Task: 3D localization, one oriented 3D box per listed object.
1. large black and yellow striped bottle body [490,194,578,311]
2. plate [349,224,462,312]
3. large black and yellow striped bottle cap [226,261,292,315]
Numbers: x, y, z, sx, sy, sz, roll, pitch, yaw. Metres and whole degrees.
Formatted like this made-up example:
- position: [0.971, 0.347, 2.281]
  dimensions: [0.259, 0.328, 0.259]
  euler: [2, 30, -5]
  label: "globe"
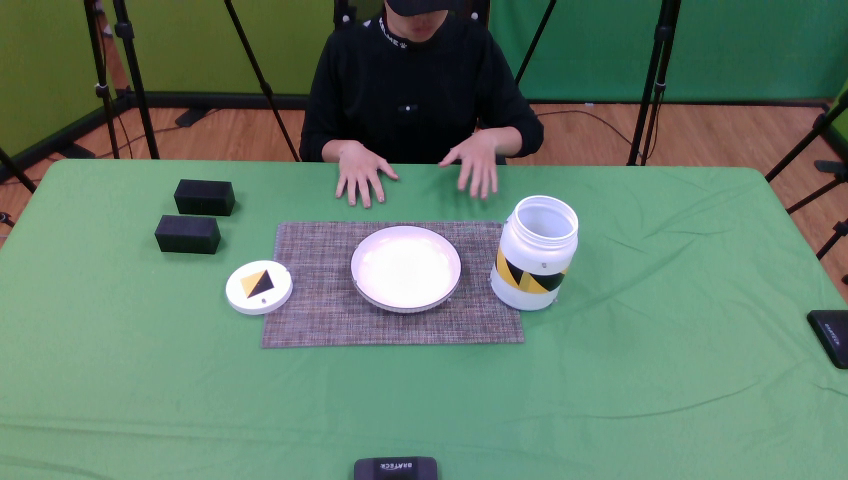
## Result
- position: [0.195, 0.022, 1.073]
  dimensions: [0.131, 0.185, 0.130]
  euler: [4, 46, -4]
  label: "large black and yellow striped bottle body"
- position: [-0.035, 0.054, 1.126]
  dimensions: [0.208, 0.039, 0.206]
  euler: [2, 46, -2]
  label: "plate"
- position: [-0.298, 0.085, 1.092]
  dimensions: [0.115, 0.019, 0.114]
  euler: [0, 45, 1]
  label: "large black and yellow striped bottle cap"
